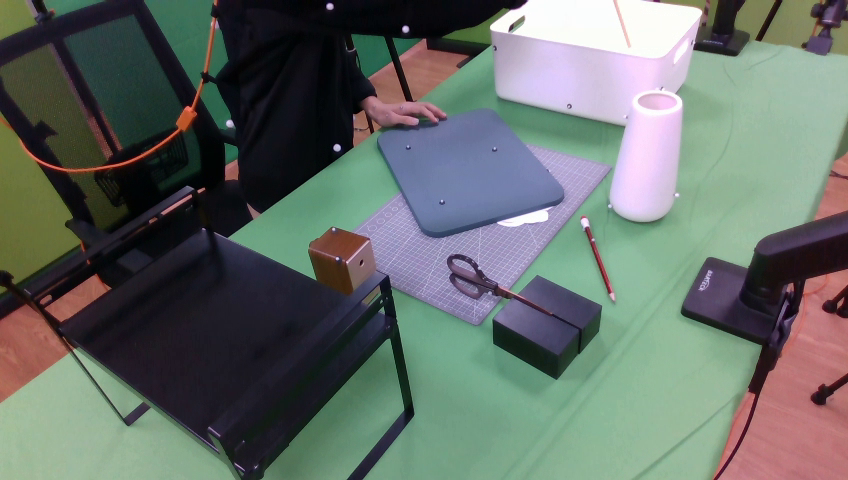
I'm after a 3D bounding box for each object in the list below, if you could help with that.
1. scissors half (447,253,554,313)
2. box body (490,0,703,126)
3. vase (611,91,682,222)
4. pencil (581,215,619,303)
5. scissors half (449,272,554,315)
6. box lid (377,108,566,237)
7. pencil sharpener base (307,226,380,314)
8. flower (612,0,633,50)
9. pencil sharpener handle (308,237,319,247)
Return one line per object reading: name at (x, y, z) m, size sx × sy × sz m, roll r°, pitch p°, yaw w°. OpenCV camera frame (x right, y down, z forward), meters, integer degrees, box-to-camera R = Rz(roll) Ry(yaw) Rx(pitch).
scissors half at (0.101, 0.060, 0.822) m, size 0.174 × 0.040 × 0.013 m, roll 29°, pitch 50°, yaw 29°
box body at (0.352, -0.385, 1.268) m, size 0.361 × 0.161 × 0.255 m, roll 21°, pitch 48°, yaw 29°
vase at (0.348, -0.125, 0.935) m, size 0.098 × 0.201 × 0.097 m, roll -3°, pitch 40°, yaw 3°
pencil at (0.266, 0.025, 0.917) m, size 0.012 × 0.012 × 0.193 m, roll -6°, pitch 41°, yaw 1°
scissors half at (0.104, 0.076, 0.834) m, size 0.173 × 0.040 × 0.013 m, roll 15°, pitch 47°, yaw 42°
box lid at (0.074, -0.141, 1.136) m, size 0.264 × 0.015 × 0.368 m, roll -16°, pitch 40°, yaw -10°
pencil sharpener base at (-0.116, 0.043, 0.875) m, size 0.076 × 0.107 × 0.061 m, roll 18°, pitch 47°, yaw 28°
flower at (0.311, -0.513, 1.080) m, size 0.038 × 0.362 × 0.044 m, roll -25°, pitch 8°, yaw -9°
pencil sharpener handle at (-0.158, 0.017, 0.892) m, size 0.030 × 0.068 × 0.036 m, roll 18°, pitch 61°, yaw 28°
